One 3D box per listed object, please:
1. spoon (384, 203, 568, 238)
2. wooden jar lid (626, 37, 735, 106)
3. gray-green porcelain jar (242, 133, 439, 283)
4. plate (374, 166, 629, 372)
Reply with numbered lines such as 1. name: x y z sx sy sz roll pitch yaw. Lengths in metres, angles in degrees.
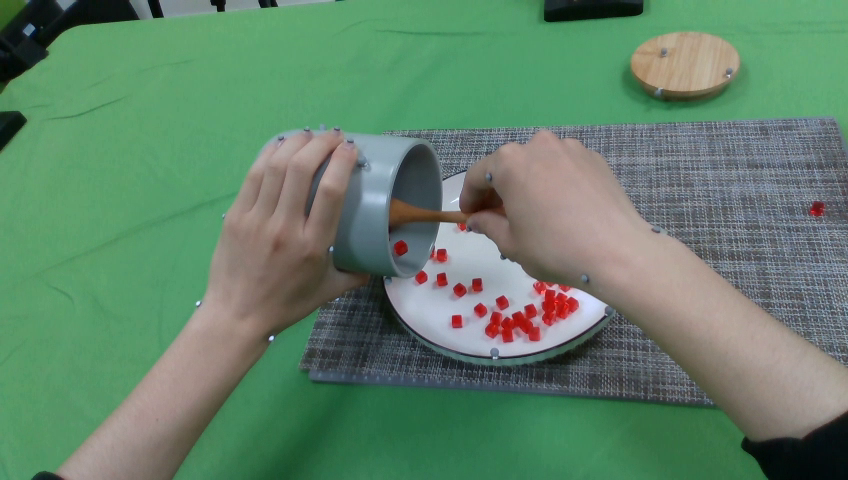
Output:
1. spoon: 0.012 -0.016 0.440 0.193 0.022 0.041 -1 76 31
2. wooden jar lid: 0.273 -0.180 0.649 0.108 0.021 0.107 -7 50 8
3. gray-green porcelain jar: -0.065 -0.027 0.469 0.126 0.107 0.105 9 53 20
4. plate: 0.063 0.022 0.509 0.207 0.039 0.205 -7 49 8
